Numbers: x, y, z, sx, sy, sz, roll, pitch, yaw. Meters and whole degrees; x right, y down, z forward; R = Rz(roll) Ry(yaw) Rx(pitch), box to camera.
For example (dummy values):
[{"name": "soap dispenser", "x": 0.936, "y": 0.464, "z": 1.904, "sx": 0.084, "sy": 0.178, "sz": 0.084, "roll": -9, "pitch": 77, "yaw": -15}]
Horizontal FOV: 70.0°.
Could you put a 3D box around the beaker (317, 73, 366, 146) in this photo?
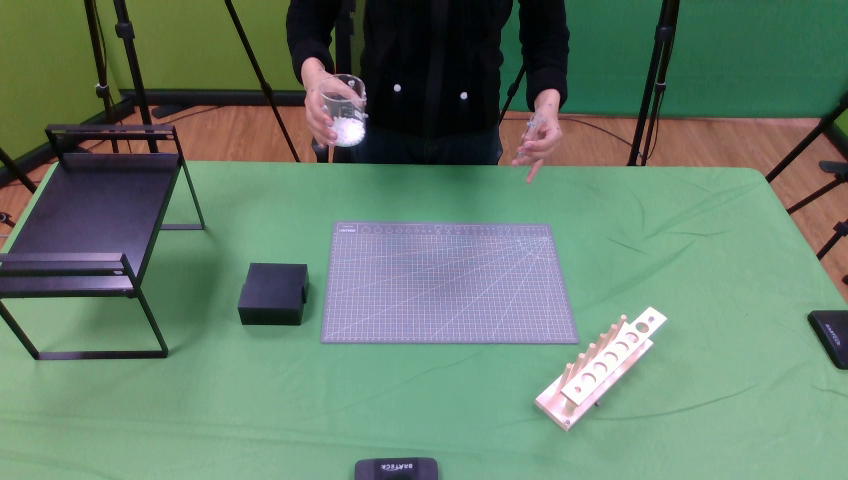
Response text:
[{"name": "beaker", "x": -0.132, "y": -0.214, "z": 1.011, "sx": 0.084, "sy": 0.101, "sz": 0.074, "roll": 24, "pitch": 53, "yaw": 16}]

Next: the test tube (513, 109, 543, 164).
[{"name": "test tube", "x": 0.175, "y": -0.173, "z": 1.031, "sx": 0.017, "sy": 0.151, "sz": 0.017, "roll": 2, "pitch": 66, "yaw": -4}]

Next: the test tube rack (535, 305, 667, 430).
[{"name": "test tube rack", "x": 0.290, "y": 0.193, "z": 0.984, "sx": 0.242, "sy": 0.085, "sz": 0.066, "roll": -32, "pitch": 57, "yaw": -30}]
